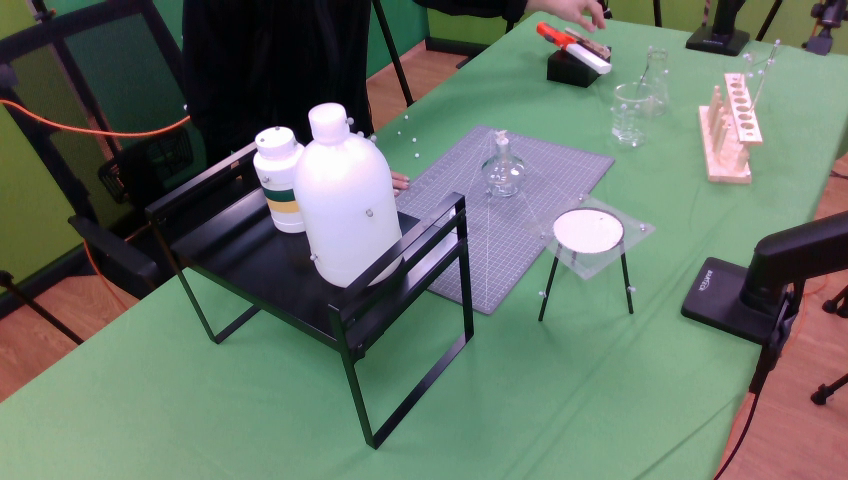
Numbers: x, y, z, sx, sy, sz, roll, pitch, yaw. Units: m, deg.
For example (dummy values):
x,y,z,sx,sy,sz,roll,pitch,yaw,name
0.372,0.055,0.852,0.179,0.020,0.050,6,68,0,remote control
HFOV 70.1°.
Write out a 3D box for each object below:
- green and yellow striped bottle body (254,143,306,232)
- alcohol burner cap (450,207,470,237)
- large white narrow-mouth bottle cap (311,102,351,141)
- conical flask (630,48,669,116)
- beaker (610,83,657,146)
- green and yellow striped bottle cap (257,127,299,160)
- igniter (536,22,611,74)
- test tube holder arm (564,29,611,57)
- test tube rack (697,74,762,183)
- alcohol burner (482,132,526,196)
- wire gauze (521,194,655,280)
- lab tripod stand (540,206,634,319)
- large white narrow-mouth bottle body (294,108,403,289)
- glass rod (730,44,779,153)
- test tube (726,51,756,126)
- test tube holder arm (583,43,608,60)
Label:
x,y,z,sx,sy,sz,roll,pitch,yaw,name
-0.165,-0.073,0.732,0.063,0.120,0.063,-4,41,4,green and yellow striped bottle body
0.057,-0.032,0.987,0.034,0.048,0.033,-5,41,5,alcohol burner cap
-0.089,-0.114,0.579,0.038,0.024,0.037,-3,40,3,large white narrow-mouth bottle cap
0.456,-0.317,1.205,0.075,0.122,0.075,-4,41,4,conical flask
0.388,-0.235,1.138,0.074,0.101,0.083,-31,45,-26,beaker
-0.169,-0.112,0.699,0.045,0.020,0.045,-5,41,5,green and yellow striped bottle cap
0.329,-0.439,1.366,0.057,0.025,0.274,-11,41,-19,igniter
0.369,-0.450,1.374,0.013,0.015,0.177,-39,40,7,test tube holder arm
0.547,-0.208,1.095,0.066,0.085,0.242,5,42,15,test tube rack
0.137,-0.136,1.042,0.078,0.119,0.077,-4,43,4,alcohol burner
0.207,-0.012,0.772,0.122,0.011,0.124,-28,44,-20,wire gauze
0.218,0.034,0.821,0.148,0.132,0.147,-4,42,4,lab tripod stand
-0.082,-0.047,0.634,0.102,0.195,0.101,-4,40,4,large white narrow-mouth bottle body
0.555,-0.233,1.020,0.008,0.200,0.008,2,40,-1,glass rod
0.568,-0.268,1.086,0.017,0.151,0.017,-4,46,4,test tube
0.379,-0.421,1.341,0.010,0.015,0.087,-39,40,7,test tube holder arm
